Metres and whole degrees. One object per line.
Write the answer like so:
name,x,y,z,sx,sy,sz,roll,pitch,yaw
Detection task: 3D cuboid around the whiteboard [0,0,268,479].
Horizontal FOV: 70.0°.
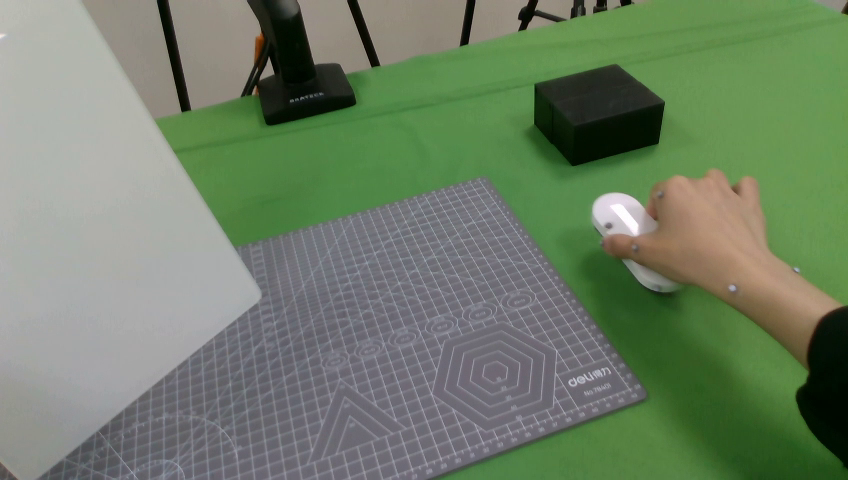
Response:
whiteboard,-0.305,-0.017,0.456,0.143,0.308,0.217,7,40,46

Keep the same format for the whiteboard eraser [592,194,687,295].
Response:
whiteboard eraser,0.174,0.001,0.494,0.041,0.019,0.100,-20,53,-8
